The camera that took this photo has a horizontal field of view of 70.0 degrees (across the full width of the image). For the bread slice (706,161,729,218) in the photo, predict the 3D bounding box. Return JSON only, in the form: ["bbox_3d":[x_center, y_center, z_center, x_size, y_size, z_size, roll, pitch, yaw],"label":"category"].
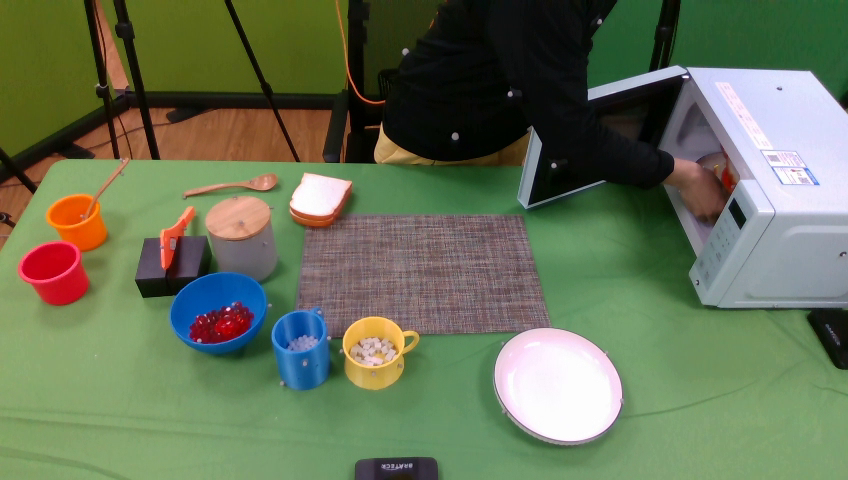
[{"bbox_3d":[0.651,-0.103,1.267,0.105,0.019,0.131,12,76,5],"label":"bread slice"}]

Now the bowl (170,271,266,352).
[{"bbox_3d":[-0.333,0.132,1.006,0.151,0.077,0.150,2,46,-2],"label":"bowl"}]

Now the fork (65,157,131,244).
[{"bbox_3d":[-0.608,-0.074,1.133,0.207,0.019,0.028,-52,51,10],"label":"fork"}]

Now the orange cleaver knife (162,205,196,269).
[{"bbox_3d":[-0.454,-0.010,1.129,0.012,0.077,0.210,-2,20,-5],"label":"orange cleaver knife"}]

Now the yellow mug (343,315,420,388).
[{"bbox_3d":[-0.067,0.177,0.990,0.131,0.064,0.099,-16,50,-19],"label":"yellow mug"}]

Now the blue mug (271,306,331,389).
[{"bbox_3d":[-0.188,0.163,0.969,0.082,0.106,0.116,15,47,10],"label":"blue mug"}]

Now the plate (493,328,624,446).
[{"bbox_3d":[0.213,0.236,0.974,0.208,0.039,0.206,2,46,-2],"label":"plate"}]

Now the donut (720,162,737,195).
[{"bbox_3d":[0.647,-0.124,1.215,0.099,0.048,0.098,-4,57,7],"label":"donut"}]

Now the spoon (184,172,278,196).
[{"bbox_3d":[-0.405,-0.116,1.275,0.194,0.022,0.041,-8,65,-12],"label":"spoon"}]

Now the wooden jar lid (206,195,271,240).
[{"bbox_3d":[-0.319,-0.036,1.046,0.108,0.021,0.107,1,44,0],"label":"wooden jar lid"}]

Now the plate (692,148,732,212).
[{"bbox_3d":[0.654,-0.111,1.236,0.209,0.038,0.208,-2,46,2],"label":"plate"}]

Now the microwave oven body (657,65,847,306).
[{"bbox_3d":[0.669,-0.111,1.176,0.326,0.261,0.439,0,46,-3],"label":"microwave oven body"}]

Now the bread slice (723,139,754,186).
[{"bbox_3d":[0.659,-0.147,1.198,0.107,0.018,0.133,1,55,9],"label":"bread slice"}]

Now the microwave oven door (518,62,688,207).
[{"bbox_3d":[0.368,-0.218,1.249,0.356,0.245,0.039,-19,51,-21],"label":"microwave oven door"}]

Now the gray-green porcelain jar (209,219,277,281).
[{"bbox_3d":[-0.323,0.007,1.092,0.106,0.127,0.105,2,46,-2],"label":"gray-green porcelain jar"}]

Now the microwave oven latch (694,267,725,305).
[{"bbox_3d":[0.523,0.082,1.115,0.030,0.029,0.078,3,46,0],"label":"microwave oven latch"}]
